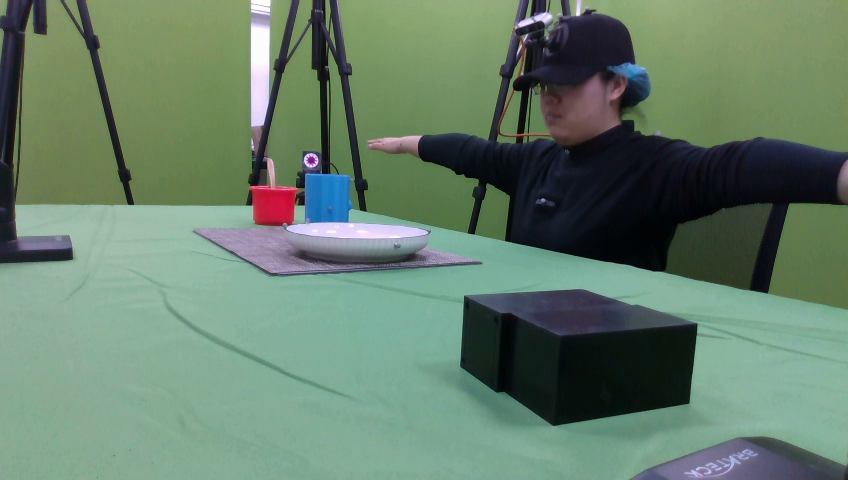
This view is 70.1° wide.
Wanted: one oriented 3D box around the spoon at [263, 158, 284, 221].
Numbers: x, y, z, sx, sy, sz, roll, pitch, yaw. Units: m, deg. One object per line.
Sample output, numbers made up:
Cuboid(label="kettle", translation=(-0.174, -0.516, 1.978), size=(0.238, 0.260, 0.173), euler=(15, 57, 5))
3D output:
Cuboid(label="spoon", translation=(-0.319, -0.110, 1.274), size=(0.042, 0.021, 0.193), euler=(3, 51, -20))

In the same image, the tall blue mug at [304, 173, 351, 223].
Cuboid(label="tall blue mug", translation=(-0.178, -0.063, 1.062), size=(0.078, 0.108, 0.106), euler=(-4, 10, -38))

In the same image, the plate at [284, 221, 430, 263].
Cuboid(label="plate", translation=(-0.095, 0.002, 0.870), size=(0.208, 0.039, 0.207), euler=(2, 7, 0))
